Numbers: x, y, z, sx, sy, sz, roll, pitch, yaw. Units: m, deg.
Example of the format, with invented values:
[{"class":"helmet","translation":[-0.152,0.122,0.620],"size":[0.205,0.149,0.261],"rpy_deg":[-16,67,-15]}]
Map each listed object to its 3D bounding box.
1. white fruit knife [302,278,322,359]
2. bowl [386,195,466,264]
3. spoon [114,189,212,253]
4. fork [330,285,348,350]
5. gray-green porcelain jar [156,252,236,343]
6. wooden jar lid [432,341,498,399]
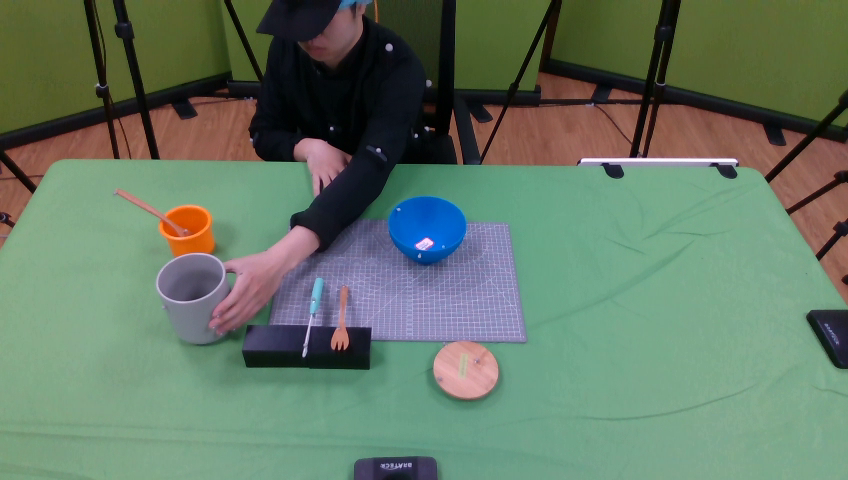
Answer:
[{"class":"white fruit knife","translation":[-0.189,0.126,1.020],"size":[0.016,0.027,0.206],"rpy_deg":[1,33,-3]},{"class":"bowl","translation":[0.002,-0.007,1.162],"size":[0.151,0.077,0.150],"rpy_deg":[2,46,-2]},{"class":"spoon","translation":[-0.475,-0.037,1.109],"size":[0.021,0.195,0.041],"rpy_deg":[-29,34,32]},{"class":"fork","translation":[-0.140,0.127,1.021],"size":[0.028,0.019,0.206],"rpy_deg":[-5,28,-2]},{"class":"gray-green porcelain jar","translation":[-0.371,0.100,0.999],"size":[0.106,0.127,0.105],"rpy_deg":[2,46,-2]},{"class":"wooden jar lid","translation":[0.067,0.216,0.997],"size":[0.108,0.021,0.107],"rpy_deg":[1,46,-1]}]
